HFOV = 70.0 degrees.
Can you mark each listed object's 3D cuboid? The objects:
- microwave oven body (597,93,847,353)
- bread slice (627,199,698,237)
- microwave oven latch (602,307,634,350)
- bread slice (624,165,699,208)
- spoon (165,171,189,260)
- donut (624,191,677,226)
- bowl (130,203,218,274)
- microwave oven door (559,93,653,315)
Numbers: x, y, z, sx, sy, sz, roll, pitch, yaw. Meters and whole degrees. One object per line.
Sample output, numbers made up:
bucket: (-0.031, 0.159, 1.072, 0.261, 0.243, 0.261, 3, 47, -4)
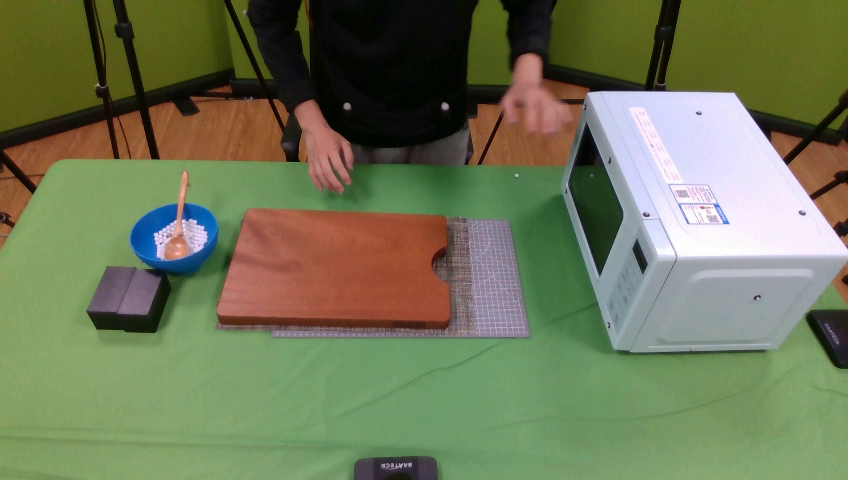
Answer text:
microwave oven body: (0.475, -0.041, 1.110, 0.326, 0.261, 0.438, -1, 45, -4)
bread slice: (0.470, -0.045, 1.196, 0.131, 0.019, 0.104, 5, 40, 10)
microwave oven latch: (0.332, 0.153, 1.044, 0.030, 0.029, 0.078, -1, 45, -4)
bread slice: (0.451, -0.099, 1.144, 0.135, 0.018, 0.106, 4, 42, -21)
spoon: (-0.452, -0.046, 1.128, 0.041, 0.022, 0.193, -2, 69, -2)
donut: (0.438, -0.061, 1.173, 0.099, 0.048, 0.098, -6, 29, 4)
bowl: (-0.450, 0.010, 1.116, 0.151, 0.077, 0.150, 3, 45, -3)
microwave oven door: (0.327, -0.074, 1.123, 0.039, 0.245, 0.353, -1, 46, -5)
